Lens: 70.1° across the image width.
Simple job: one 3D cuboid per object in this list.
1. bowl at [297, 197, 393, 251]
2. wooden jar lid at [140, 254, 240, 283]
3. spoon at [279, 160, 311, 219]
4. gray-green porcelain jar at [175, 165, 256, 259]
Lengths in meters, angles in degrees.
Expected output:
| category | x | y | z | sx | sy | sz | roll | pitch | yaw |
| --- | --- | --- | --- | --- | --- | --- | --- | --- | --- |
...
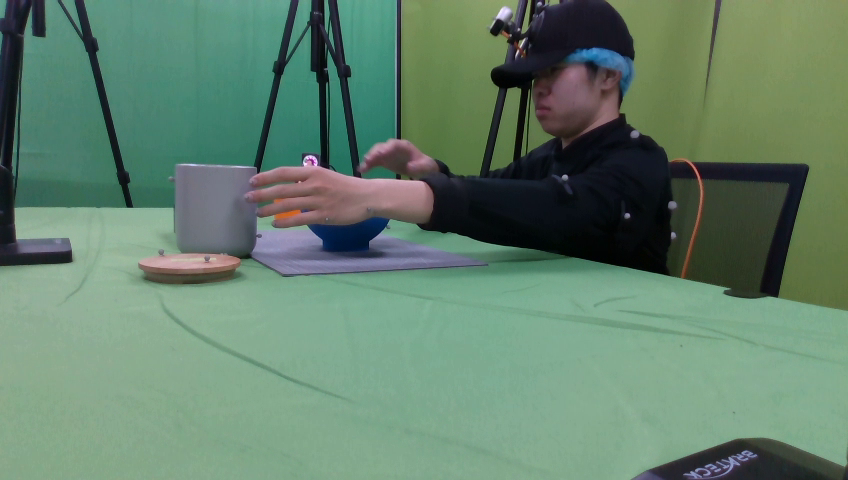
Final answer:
| category | x | y | z | sx | sy | sz | roll | pitch | yaw |
| --- | --- | --- | --- | --- | --- | --- | --- | --- | --- |
| bowl | -0.125 | -0.026 | 0.957 | 0.151 | 0.077 | 0.151 | 2 | 7 | 0 |
| wooden jar lid | -0.269 | 0.033 | 0.698 | 0.108 | 0.020 | 0.108 | 2 | 5 | 0 |
| spoon | -0.285 | -0.117 | 1.371 | 0.041 | 0.193 | 0.022 | 3 | -37 | 11 |
| gray-green porcelain jar | -0.287 | -0.039 | 0.837 | 0.106 | 0.126 | 0.106 | 2 | 7 | 0 |
